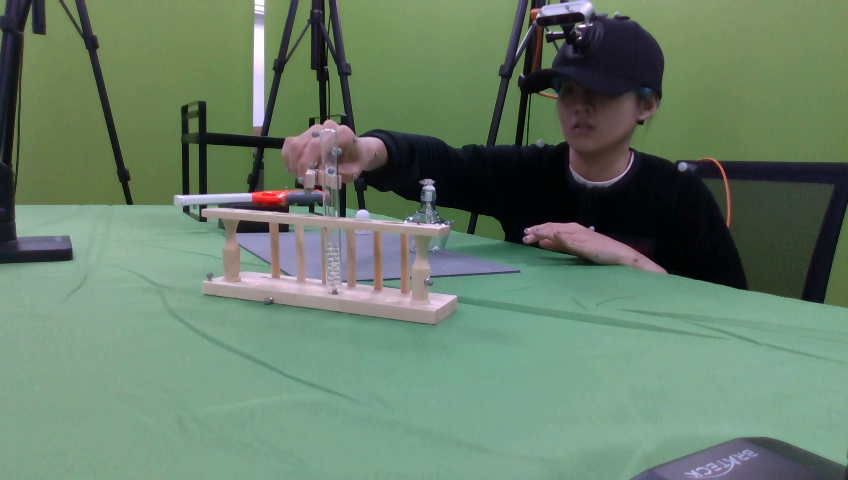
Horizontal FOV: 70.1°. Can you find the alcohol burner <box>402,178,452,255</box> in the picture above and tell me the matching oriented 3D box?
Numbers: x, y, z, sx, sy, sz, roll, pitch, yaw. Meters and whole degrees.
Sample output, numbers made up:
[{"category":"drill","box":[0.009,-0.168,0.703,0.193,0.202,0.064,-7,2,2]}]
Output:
[{"category":"alcohol burner","box":[0.005,-0.036,0.922,0.078,0.119,0.078,5,7,0]}]

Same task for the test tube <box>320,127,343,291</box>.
[{"category":"test tube","box":[-0.084,-0.028,0.553,0.017,0.150,0.017,-1,6,0]}]

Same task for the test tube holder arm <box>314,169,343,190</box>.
[{"category":"test tube holder arm","box":[-0.100,-0.061,0.602,0.010,0.015,0.087,3,10,-28]}]

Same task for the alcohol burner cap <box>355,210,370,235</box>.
[{"category":"alcohol burner cap","box":[-0.116,-0.033,1.136,0.034,0.048,0.034,1,7,0]}]

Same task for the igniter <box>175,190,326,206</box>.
[{"category":"igniter","box":[-0.315,-0.079,1.128,0.278,0.025,0.057,-5,13,-34]}]

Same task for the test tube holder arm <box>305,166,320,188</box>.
[{"category":"test tube holder arm","box":[-0.117,-0.069,0.642,0.013,0.015,0.178,7,8,-11]}]

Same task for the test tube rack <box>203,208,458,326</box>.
[{"category":"test tube rack","box":[-0.090,0.019,0.579,0.241,0.085,0.067,5,7,19]}]
